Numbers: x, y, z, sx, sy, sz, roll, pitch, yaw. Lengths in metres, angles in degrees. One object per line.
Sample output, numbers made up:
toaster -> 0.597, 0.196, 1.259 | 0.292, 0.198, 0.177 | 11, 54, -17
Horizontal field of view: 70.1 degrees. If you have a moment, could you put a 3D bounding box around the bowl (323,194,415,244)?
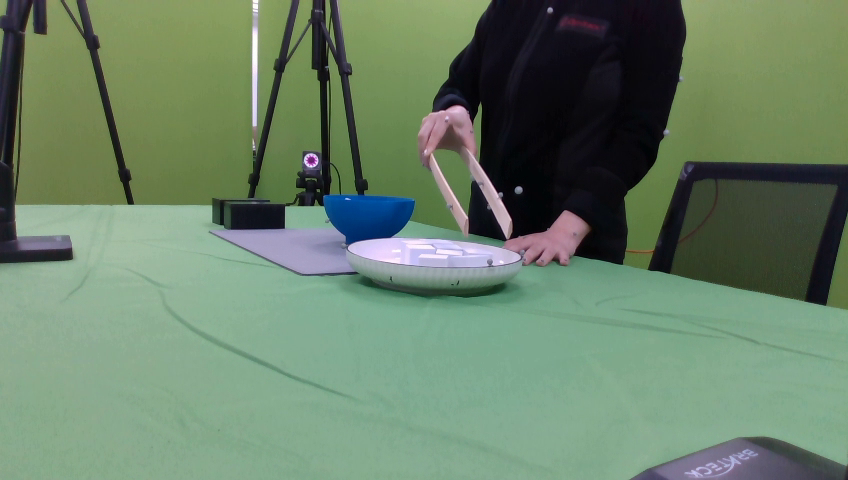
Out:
bowl -> -0.090, -0.032, 0.986 | 0.151, 0.077, 0.151 | 2, 7, 0

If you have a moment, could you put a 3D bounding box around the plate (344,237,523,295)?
plate -> 0.010, 0.030, 0.707 | 0.208, 0.039, 0.207 | 3, 8, 0

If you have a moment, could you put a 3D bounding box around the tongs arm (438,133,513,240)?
tongs arm -> 0.063, -0.092, 0.871 | 0.051, 0.026, 0.384 | -3, 25, -4

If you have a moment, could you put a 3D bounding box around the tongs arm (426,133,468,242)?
tongs arm -> 0.031, -0.090, 0.867 | 0.028, 0.028, 0.386 | -6, 26, -4
